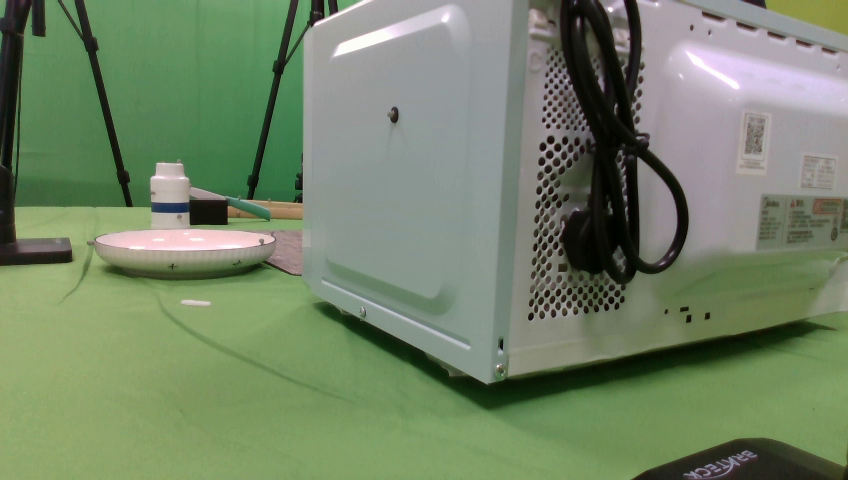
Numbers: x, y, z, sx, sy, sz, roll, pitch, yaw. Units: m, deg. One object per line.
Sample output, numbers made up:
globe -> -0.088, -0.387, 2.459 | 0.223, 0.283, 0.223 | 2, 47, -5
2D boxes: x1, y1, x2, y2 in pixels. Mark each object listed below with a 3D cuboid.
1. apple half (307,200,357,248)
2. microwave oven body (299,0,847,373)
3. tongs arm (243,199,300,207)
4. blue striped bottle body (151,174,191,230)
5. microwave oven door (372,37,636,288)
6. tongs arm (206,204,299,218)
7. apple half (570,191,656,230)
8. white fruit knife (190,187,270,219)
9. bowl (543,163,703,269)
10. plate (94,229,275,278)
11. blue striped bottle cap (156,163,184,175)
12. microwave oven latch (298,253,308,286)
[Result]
apple half -> -0.136, -0.024, 0.942 | 0.053, 0.074, 0.081 | 15, 10, 38
microwave oven body -> 0.152, -0.055, 0.542 | 0.444, 0.260, 0.324 | -2, 7, -33
tongs arm -> -0.309, -0.078, 1.486 | 0.385, 0.026, 0.050 | 3, 7, -2
blue striped bottle body -> -0.439, -0.071, 1.052 | 0.063, 0.120, 0.063 | 2, 8, 0
microwave oven door -> 0.110, -0.080, 0.686 | 0.358, 0.243, 0.039 | -2, 8, -33
tongs arm -> -0.302, -0.065, 1.406 | 0.389, 0.028, 0.028 | 1, 4, -15
apple half -> 0.180, -0.030, 0.585 | 0.081, 0.033, 0.081 | 8, -6, 1
white fruit knife -> -0.413, -0.081, 1.270 | 0.208, 0.027, 0.016 | 17, 13, -41
bowl -> 0.181, -0.020, 0.585 | 0.151, 0.077, 0.151 | 13, 7, -1
plate -> -0.291, 0.016, 0.749 | 0.208, 0.039, 0.207 | 2, 7, 0
blue striped bottle cap -> -0.438, -0.122, 1.045 | 0.044, 0.020, 0.044 | 6, 7, 0
microwave oven latch -> -0.081, 0.028, 0.582 | 0.079, 0.029, 0.030 | -2, 7, -33
